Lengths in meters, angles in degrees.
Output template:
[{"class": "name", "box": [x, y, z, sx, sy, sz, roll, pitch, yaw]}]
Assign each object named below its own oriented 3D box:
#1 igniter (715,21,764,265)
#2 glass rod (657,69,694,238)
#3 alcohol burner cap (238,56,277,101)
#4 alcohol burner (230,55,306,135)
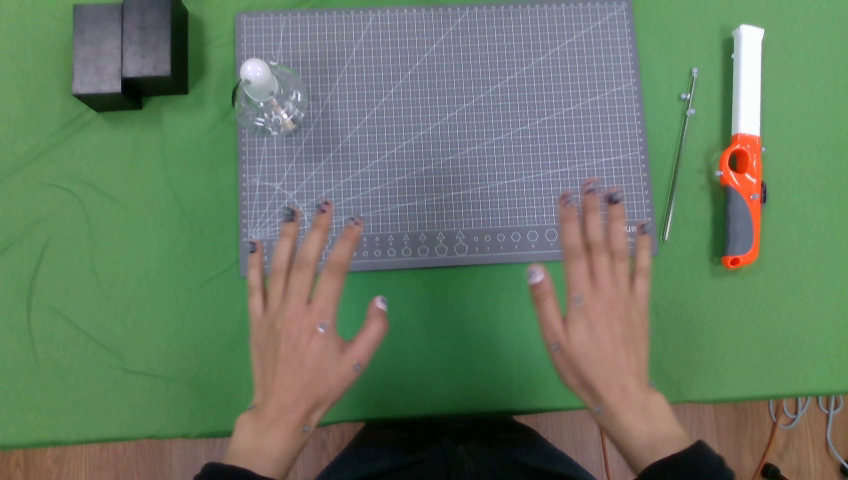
[{"class": "igniter", "box": [0.350, -0.108, 0.669, 0.057, 0.025, 0.275, 7, 83, -11]}, {"class": "glass rod", "box": [0.281, -0.099, 0.676, 0.008, 0.008, 0.199, 14, 83, 0]}, {"class": "alcohol burner cap", "box": [-0.159, -0.156, 0.576, 0.034, 0.048, 0.034, 1, 84, -5]}, {"class": "alcohol burner", "box": [-0.161, -0.151, 0.611, 0.078, 0.119, 0.077, 0, 80, -1]}]
